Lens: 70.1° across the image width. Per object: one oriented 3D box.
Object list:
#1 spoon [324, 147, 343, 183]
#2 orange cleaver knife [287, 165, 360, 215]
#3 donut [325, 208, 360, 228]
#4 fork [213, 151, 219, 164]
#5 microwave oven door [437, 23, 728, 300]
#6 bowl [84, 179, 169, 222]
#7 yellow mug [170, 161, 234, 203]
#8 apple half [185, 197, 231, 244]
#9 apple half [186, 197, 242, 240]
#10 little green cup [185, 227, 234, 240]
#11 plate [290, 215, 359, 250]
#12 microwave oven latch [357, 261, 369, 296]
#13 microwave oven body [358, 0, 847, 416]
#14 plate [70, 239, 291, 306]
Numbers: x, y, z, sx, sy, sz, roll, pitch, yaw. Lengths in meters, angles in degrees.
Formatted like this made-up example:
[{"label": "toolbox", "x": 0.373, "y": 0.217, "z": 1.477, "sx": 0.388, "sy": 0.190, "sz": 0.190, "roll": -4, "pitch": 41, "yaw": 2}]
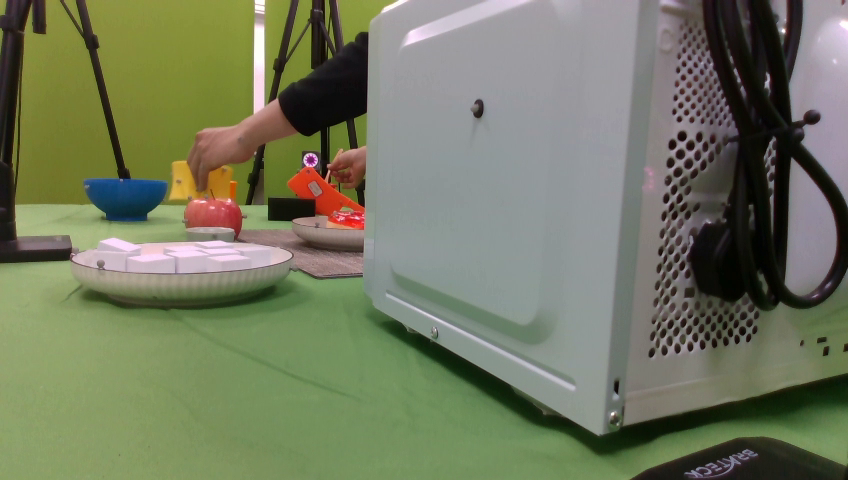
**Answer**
[{"label": "spoon", "x": -0.246, "y": -0.174, "z": 1.571, "sx": 0.041, "sy": 0.193, "sz": 0.022, "roll": -1, "pitch": -35, "yaw": 27}, {"label": "orange cleaver knife", "x": -0.211, "y": -0.092, "z": 1.382, "sx": 0.212, "sy": 0.077, "sz": 0.012, "roll": 33, "pitch": 1, "yaw": -15}, {"label": "donut", "x": -0.111, "y": -0.025, "z": 0.974, "sx": 0.099, "sy": 0.048, "sz": 0.099, "roll": 5, "pitch": 8, "yaw": 0}, {"label": "fork", "x": -0.494, "y": -0.143, "z": 1.442, "sx": 0.028, "sy": 0.018, "sz": 0.206, "roll": -2, "pitch": 52, "yaw": -20}, {"label": "microwave oven door", "x": 0.181, "y": -0.073, "z": 0.621, "sx": 0.358, "sy": 0.243, "sz": 0.039, "roll": -2, "pitch": 8, "yaw": -29}, {"label": "bowl", "x": -0.584, "y": -0.078, "z": 1.194, "sx": 0.151, "sy": 0.077, "sz": 0.151, "roll": 3, "pitch": 8, "yaw": 0}, {"label": "yellow mug", "x": -0.378, "y": -0.098, "z": 1.037, "sx": 0.100, "sy": 0.064, "sz": 0.130, "roll": 4, "pitch": -2, "yaw": -25}, {"label": "apple half", "x": -0.337, "y": -0.032, "z": 0.927, "sx": 0.032, "sy": 0.081, "sz": 0.082, "roll": 13, "pitch": 12, "yaw": 37}, {"label": "apple half", "x": -0.306, "y": -0.026, "z": 0.904, "sx": 0.053, "sy": 0.074, "sz": 0.081, "roll": 14, "pitch": 9, "yaw": 37}, {"label": "little green cup", "x": -0.285, "y": 0.005, "z": 0.805, "sx": 0.061, "sy": 0.038, "sz": 0.061, "roll": 2, "pitch": 8, "yaw": 0}, {"label": "plate", "x": -0.110, "y": -0.013, "z": 0.974, "sx": 0.209, "sy": 0.038, "sz": 0.209, "roll": 3, "pitch": 8, "yaw": 0}, {"label": "microwave oven latch", "x": -0.019, "y": 0.033, "z": 0.532, "sx": 0.079, "sy": 0.029, "sz": 0.030, "roll": -1, "pitch": 8, "yaw": -29}, {"label": "microwave oven body", "x": 0.211, "y": -0.047, "z": 0.474, "sx": 0.444, "sy": 0.260, "sz": 0.324, "roll": -1, "pitch": 7, "yaw": -28}, {"label": "plate", "x": -0.242, "y": 0.031, "z": 0.618, "sx": 0.208, "sy": 0.039, "sz": 0.207, "roll": 3, "pitch": 8, "yaw": 0}]
